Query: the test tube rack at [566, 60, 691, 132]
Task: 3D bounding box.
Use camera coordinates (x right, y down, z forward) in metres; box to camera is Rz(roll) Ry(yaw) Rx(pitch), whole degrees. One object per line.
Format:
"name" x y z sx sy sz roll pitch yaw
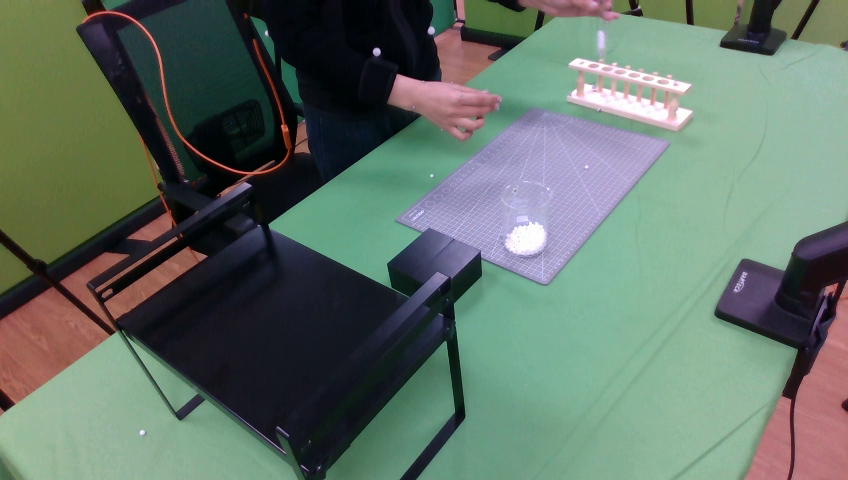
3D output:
"test tube rack" 0.411 -0.299 1.217 0.240 0.085 0.067 26 51 33

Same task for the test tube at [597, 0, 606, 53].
"test tube" 0.330 -0.419 1.120 0.017 0.151 0.017 -8 38 6

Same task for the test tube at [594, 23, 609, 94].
"test tube" 0.363 -0.370 1.238 0.017 0.151 0.017 -4 41 4

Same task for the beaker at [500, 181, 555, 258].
"beaker" 0.158 -0.030 0.923 0.084 0.100 0.073 -13 41 -8
